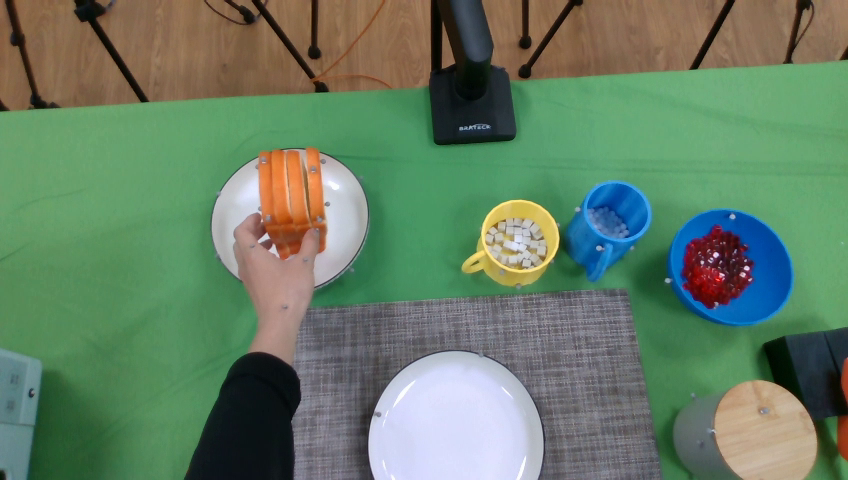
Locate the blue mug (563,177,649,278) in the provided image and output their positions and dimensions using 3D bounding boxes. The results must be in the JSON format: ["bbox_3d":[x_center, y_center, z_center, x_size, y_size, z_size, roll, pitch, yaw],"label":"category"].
[{"bbox_3d":[0.226,-0.007,0.774,0.082,0.106,0.116,15,71,5],"label":"blue mug"}]

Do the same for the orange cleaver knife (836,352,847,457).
[{"bbox_3d":[0.507,0.237,0.704,0.012,0.077,0.212,-7,101,-2],"label":"orange cleaver knife"}]

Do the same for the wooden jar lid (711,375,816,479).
[{"bbox_3d":[0.348,0.195,0.627,0.108,0.021,0.107,1,72,-2],"label":"wooden jar lid"}]

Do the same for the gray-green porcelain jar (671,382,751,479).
[{"bbox_3d":[0.348,0.217,0.686,0.106,0.127,0.105,0,70,0],"label":"gray-green porcelain jar"}]

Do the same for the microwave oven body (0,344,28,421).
[{"bbox_3d":[-0.614,0.314,0.564,0.326,0.261,0.438,-4,71,-2],"label":"microwave oven body"}]

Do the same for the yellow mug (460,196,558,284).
[{"bbox_3d":[0.105,0.008,0.788,0.131,0.064,0.099,-25,72,-8],"label":"yellow mug"}]

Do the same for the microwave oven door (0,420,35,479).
[{"bbox_3d":[-0.465,0.343,0.551,0.039,0.245,0.353,-4,70,-1],"label":"microwave oven door"}]

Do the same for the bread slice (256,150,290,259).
[{"bbox_3d":[-0.189,-0.051,0.762,0.018,0.135,0.106,-7,67,-5],"label":"bread slice"}]

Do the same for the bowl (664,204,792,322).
[{"bbox_3d":[0.373,0.038,0.774,0.151,0.077,0.150,0,71,0],"label":"bowl"}]

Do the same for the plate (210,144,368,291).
[{"bbox_3d":[-0.178,-0.029,0.813,0.208,0.039,0.206,0,71,-1],"label":"plate"}]

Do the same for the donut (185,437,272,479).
[{"bbox_3d":[-0.225,0.279,0.702,0.099,0.048,0.098,1,70,-3],"label":"donut"}]

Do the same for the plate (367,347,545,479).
[{"bbox_3d":[0.038,0.232,0.719,0.209,0.038,0.207,0,71,0],"label":"plate"}]

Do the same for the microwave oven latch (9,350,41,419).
[{"bbox_3d":[-0.480,0.171,0.718,0.030,0.029,0.078,1,71,-1],"label":"microwave oven latch"}]

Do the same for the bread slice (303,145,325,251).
[{"bbox_3d":[-0.139,-0.055,0.765,0.019,0.132,0.104,-6,72,-11],"label":"bread slice"}]
